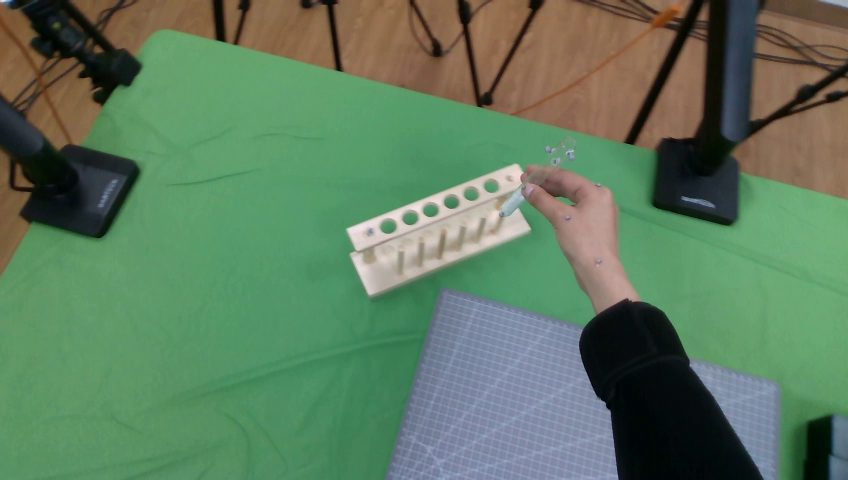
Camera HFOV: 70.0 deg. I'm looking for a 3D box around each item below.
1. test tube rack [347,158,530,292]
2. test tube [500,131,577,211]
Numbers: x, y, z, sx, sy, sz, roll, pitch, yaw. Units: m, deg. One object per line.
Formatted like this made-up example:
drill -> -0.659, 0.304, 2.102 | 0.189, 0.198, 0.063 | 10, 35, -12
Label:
test tube rack -> 0.026, -0.020, 0.792 | 0.242, 0.086, 0.066 | -22, 68, -13
test tube -> 0.113, -0.066, 0.620 | 0.017, 0.150, 0.017 | 7, 66, -15
